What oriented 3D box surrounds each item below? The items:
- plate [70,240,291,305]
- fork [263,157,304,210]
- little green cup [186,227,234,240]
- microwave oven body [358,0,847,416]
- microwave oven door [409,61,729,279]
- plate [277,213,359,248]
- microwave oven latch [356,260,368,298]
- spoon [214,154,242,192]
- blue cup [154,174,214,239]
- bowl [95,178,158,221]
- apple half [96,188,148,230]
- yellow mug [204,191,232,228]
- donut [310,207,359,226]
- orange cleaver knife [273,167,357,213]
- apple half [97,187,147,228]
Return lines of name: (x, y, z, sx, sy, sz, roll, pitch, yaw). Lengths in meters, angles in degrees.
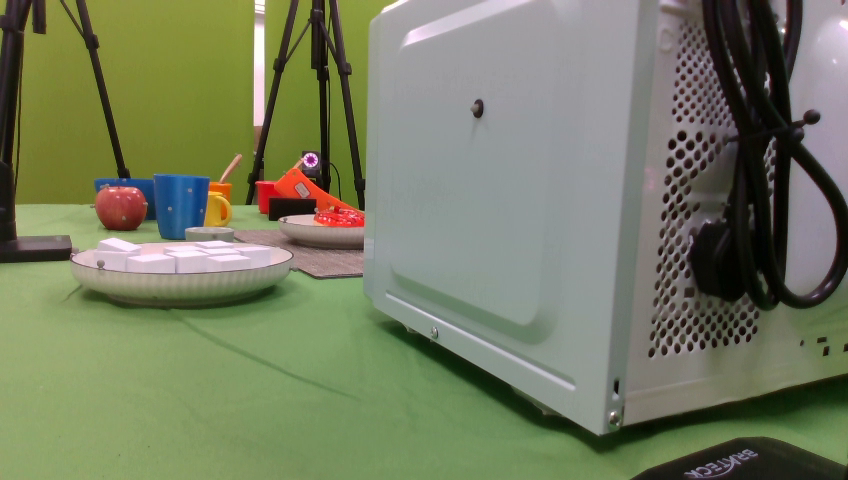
plate: (-0.242, 0.031, 0.618, 0.208, 0.039, 0.207, 2, 8, 0)
fork: (-0.345, -0.143, 1.506, 0.028, 0.019, 0.207, -4, 46, 29)
little green cup: (-0.285, 0.005, 0.805, 0.061, 0.038, 0.061, 2, 8, 0)
microwave oven body: (0.210, -0.047, 0.475, 0.444, 0.260, 0.324, -1, 7, -28)
microwave oven door: (0.164, -0.085, 0.722, 0.356, 0.243, 0.039, 3, 8, 7)
plate: (-0.135, -0.017, 0.992, 0.209, 0.038, 0.209, 2, 8, 0)
microwave oven latch: (-0.020, 0.033, 0.529, 0.079, 0.029, 0.030, 0, 7, -24)
spoon: (-0.439, -0.124, 1.318, 0.041, 0.193, 0.022, 5, -36, 16)
blue cup: (-0.391, -0.054, 0.978, 0.093, 0.100, 0.092, 4, 6, 0)
bowl: (-0.576, -0.081, 1.217, 0.151, 0.077, 0.151, 3, 8, 0)
apple half: (-0.517, -0.052, 1.036, 0.081, 0.074, 0.053, 2, 10, -26)
yellow mug: (-0.415, -0.057, 1.131, 0.130, 0.064, 0.100, 6, 7, 16)
donut: (-0.137, -0.029, 0.995, 0.099, 0.048, 0.099, 4, 9, 0)
orange cleaver knife: (-0.238, -0.091, 1.381, 0.212, 0.077, 0.012, 31, 0, -19)
apple half: (-0.534, -0.059, 1.071, 0.082, 0.081, 0.032, -1, 11, -25)
